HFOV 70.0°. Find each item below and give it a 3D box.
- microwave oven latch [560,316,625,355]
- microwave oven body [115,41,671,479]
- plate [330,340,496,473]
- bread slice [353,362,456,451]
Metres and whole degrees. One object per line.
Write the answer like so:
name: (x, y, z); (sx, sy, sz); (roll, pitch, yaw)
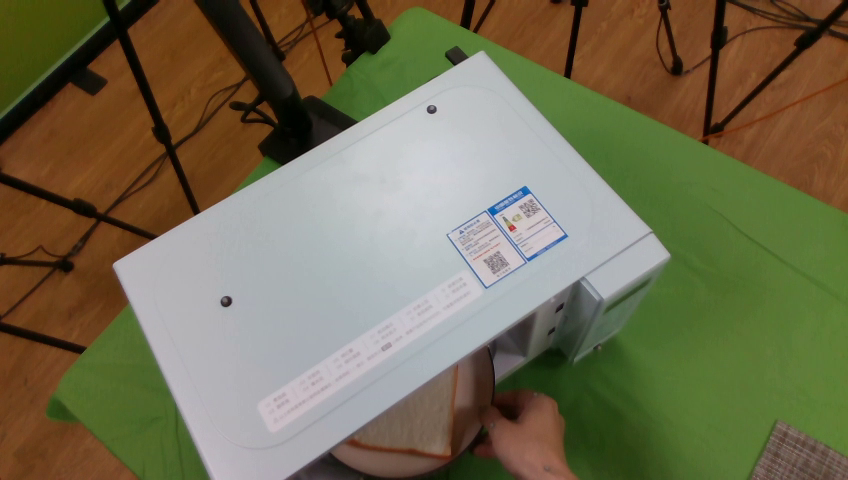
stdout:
microwave oven latch: (0.205, 0.106, 0.736); (0.079, 0.030, 0.030); (-31, 67, -8)
microwave oven body: (-0.033, 0.051, 0.677); (0.442, 0.262, 0.323); (-33, 67, -9)
plate: (-0.027, 0.146, 0.660); (0.208, 0.039, 0.206); (0, 64, 0)
bread slice: (-0.034, 0.172, 0.657); (0.134, 0.018, 0.106); (7, 63, -3)
